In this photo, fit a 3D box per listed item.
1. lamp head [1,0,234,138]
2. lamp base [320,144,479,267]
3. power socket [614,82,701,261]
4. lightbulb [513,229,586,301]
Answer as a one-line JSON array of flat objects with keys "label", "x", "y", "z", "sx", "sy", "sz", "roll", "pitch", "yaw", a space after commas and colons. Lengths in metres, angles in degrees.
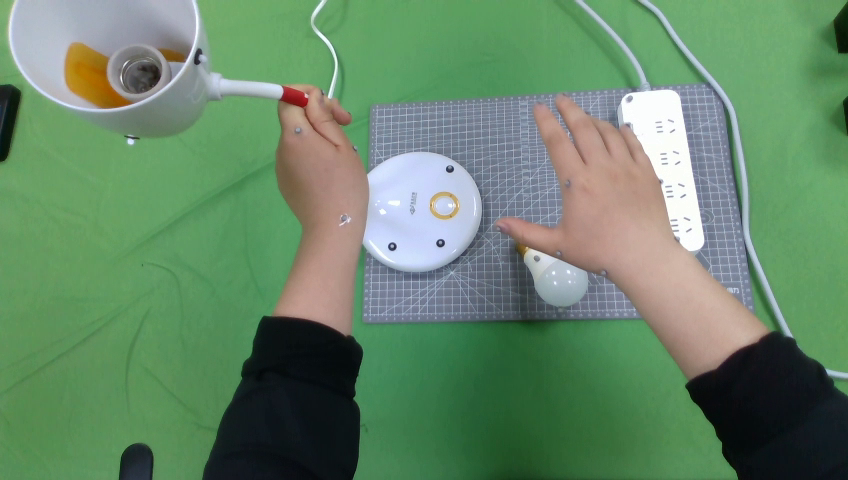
[{"label": "lamp head", "x": -0.196, "y": -0.121, "z": 0.418, "sx": 0.112, "sy": 0.123, "sz": 0.112, "roll": 0, "pitch": 81, "yaw": 0}, {"label": "lamp base", "x": -0.035, "y": -0.064, "z": 0.680, "sx": 0.179, "sy": 0.181, "sz": 0.159, "roll": -9, "pitch": 72, "yaw": 8}, {"label": "power socket", "x": 0.276, "y": -0.088, "z": 0.724, "sx": 0.072, "sy": 0.033, "sz": 0.225, "roll": -4, "pitch": 73, "yaw": 5}, {"label": "lightbulb", "x": 0.140, "y": 0.025, "z": 0.700, "sx": 0.059, "sy": 0.060, "sz": 0.106, "roll": -38, "pitch": 57, "yaw": -5}]
